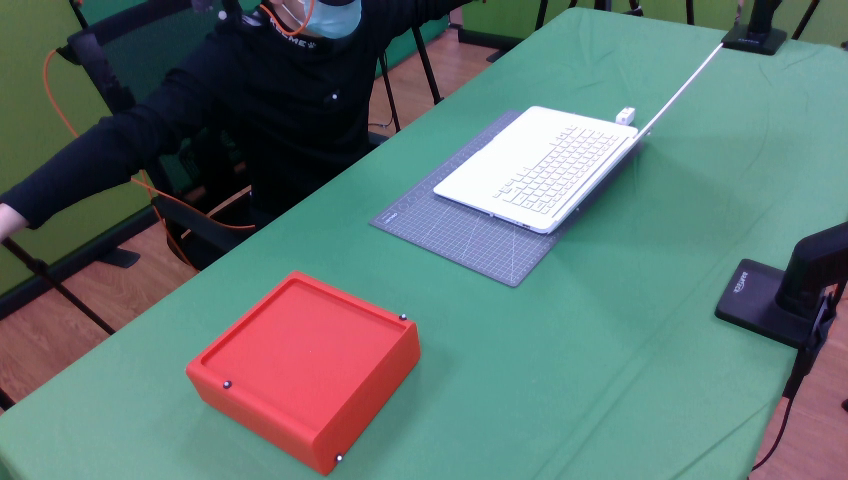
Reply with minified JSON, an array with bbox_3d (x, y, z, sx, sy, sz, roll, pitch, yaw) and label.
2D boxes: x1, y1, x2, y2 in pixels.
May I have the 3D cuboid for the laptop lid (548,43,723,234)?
[{"bbox_3d":[0.335,-0.160,0.955,0.013,0.241,0.358,42,54,8],"label":"laptop lid"}]

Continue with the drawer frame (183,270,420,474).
[{"bbox_3d":[-0.149,0.153,0.767,0.212,0.083,0.202,20,46,27],"label":"drawer frame"}]

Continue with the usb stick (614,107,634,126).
[{"bbox_3d":[0.385,-0.234,1.174,0.021,0.027,0.059,22,48,30],"label":"usb stick"}]

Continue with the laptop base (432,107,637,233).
[{"bbox_3d":[0.210,-0.142,1.111,0.233,0.023,0.355,21,48,33],"label":"laptop base"}]

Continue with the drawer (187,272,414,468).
[{"bbox_3d":[-0.150,0.154,0.768,0.210,0.073,0.195,20,46,28],"label":"drawer"}]
